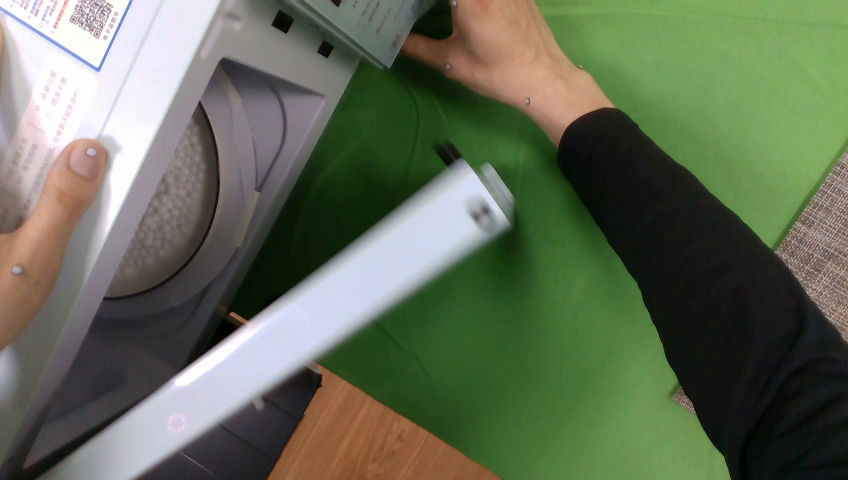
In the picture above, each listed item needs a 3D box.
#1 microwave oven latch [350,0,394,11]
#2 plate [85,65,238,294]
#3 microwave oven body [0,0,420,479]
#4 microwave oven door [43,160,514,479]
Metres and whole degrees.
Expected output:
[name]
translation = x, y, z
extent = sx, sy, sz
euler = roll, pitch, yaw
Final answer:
[microwave oven latch]
translation = -0.021, -0.206, 0.477
extent = 0.079, 0.029, 0.030
euler = -12, 97, 9
[plate]
translation = -0.247, -0.061, 0.492
extent = 0.209, 0.038, 0.209
euler = 1, 100, 6
[microwave oven body]
translation = -0.247, -0.100, 0.428
extent = 0.326, 0.260, 0.442
euler = 32, 102, 3
[microwave oven door]
translation = -0.095, 0.060, 0.424
extent = 0.356, 0.243, 0.039
euler = -35, 90, 11
